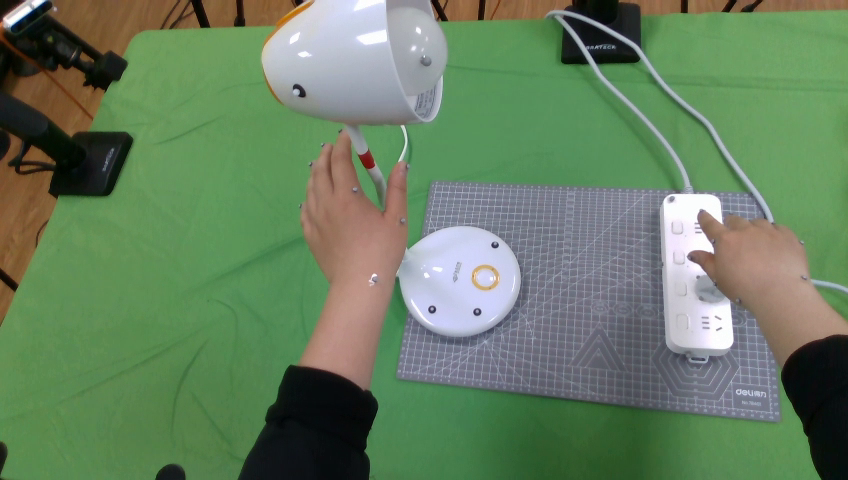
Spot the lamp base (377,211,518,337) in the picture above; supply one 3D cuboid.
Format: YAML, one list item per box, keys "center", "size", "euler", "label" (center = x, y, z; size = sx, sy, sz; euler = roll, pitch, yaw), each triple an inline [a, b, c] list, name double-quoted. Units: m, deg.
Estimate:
- center: [0.018, 0.019, 0.741]
  size: [0.179, 0.182, 0.159]
  euler: [-3, 62, 13]
  label: "lamp base"

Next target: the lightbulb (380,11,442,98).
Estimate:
- center: [-0.039, -0.133, 0.442]
  size: [0.107, 0.060, 0.059]
  euler: [2, 63, 21]
  label: "lightbulb"

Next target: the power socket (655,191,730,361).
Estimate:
- center: [0.332, 0.037, 0.756]
  size: [0.072, 0.033, 0.225]
  euler: [2, 64, 11]
  label: "power socket"

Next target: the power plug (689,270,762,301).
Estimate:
- center: [0.354, 0.059, 0.719]
  size: [0.072, 0.053, 0.035]
  euler: [13, 67, 14]
  label: "power plug"

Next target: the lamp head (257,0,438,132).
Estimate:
- center: [-0.059, -0.132, 0.458]
  size: [0.122, 0.113, 0.111]
  euler: [-9, 61, 24]
  label: "lamp head"
